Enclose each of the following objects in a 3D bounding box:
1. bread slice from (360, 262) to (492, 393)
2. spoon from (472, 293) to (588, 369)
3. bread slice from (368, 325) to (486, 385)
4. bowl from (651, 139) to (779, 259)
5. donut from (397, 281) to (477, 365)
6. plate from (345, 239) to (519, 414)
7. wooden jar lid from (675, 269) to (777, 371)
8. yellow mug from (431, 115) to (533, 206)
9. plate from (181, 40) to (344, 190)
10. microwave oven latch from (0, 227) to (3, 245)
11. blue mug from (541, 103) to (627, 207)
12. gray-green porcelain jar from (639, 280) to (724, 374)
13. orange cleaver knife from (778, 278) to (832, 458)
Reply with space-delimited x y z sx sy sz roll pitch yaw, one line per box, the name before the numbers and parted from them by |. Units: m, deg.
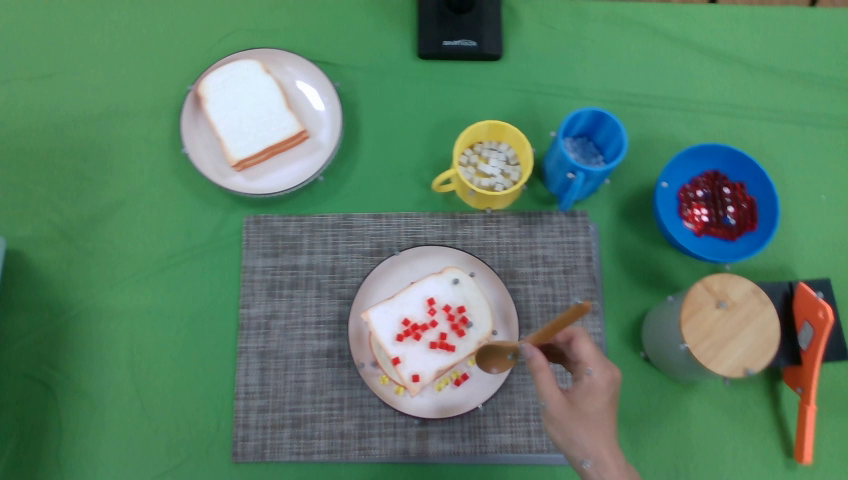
bread slice | 0.008 0.087 0.677 0.134 0.018 0.107 -34 86 -17
spoon | 0.098 0.090 0.575 0.042 0.194 0.021 33 59 -5
bread slice | 0.000 0.114 0.735 0.131 0.019 0.104 -31 77 -12
bowl | 0.352 -0.042 0.764 0.151 0.077 0.150 0 76 -2
donut | 0.016 0.097 0.707 0.099 0.048 0.098 6 74 -19
plate | 0.010 0.103 0.734 0.209 0.038 0.208 0 76 -2
wooden jar lid | 0.317 0.085 0.642 0.108 0.021 0.108 1 79 -4
yellow mug | 0.071 -0.095 0.774 0.131 0.064 0.099 -20 77 -5
plate | -0.208 -0.161 0.796 0.208 0.039 0.206 1 76 -2
microwave oven latch | -0.528 0.018 0.721 0.030 0.029 0.079 6 77 -1
blue mug | 0.192 -0.096 0.759 0.082 0.106 0.116 20 76 4
gray-green porcelain jar | 0.317 0.101 0.703 0.106 0.127 0.105 1 76 -2
orange cleaver knife | 0.444 0.152 0.717 0.012 0.077 0.212 -1 102 -1
